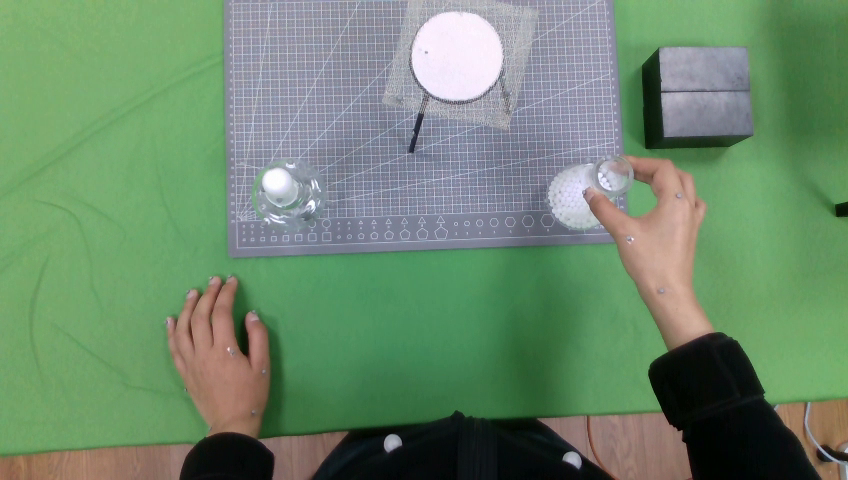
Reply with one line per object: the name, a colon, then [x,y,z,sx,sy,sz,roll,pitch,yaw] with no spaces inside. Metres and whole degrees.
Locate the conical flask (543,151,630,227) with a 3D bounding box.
conical flask: [0.169,-0.057,0.612,0.075,0.122,0.075,0,85,-2]

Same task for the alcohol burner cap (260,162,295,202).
alcohol burner cap: [-0.144,-0.058,0.585,0.034,0.048,0.033,1,80,-6]

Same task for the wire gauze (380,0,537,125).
wire gauze: [0.033,-0.176,0.561,0.121,0.011,0.125,15,84,-1]

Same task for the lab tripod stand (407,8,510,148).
lab tripod stand: [0.024,-0.171,0.628,0.148,0.131,0.148,0,85,0]

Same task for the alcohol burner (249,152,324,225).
alcohol burner: [-0.144,-0.055,0.620,0.078,0.119,0.078,0,86,-2]
